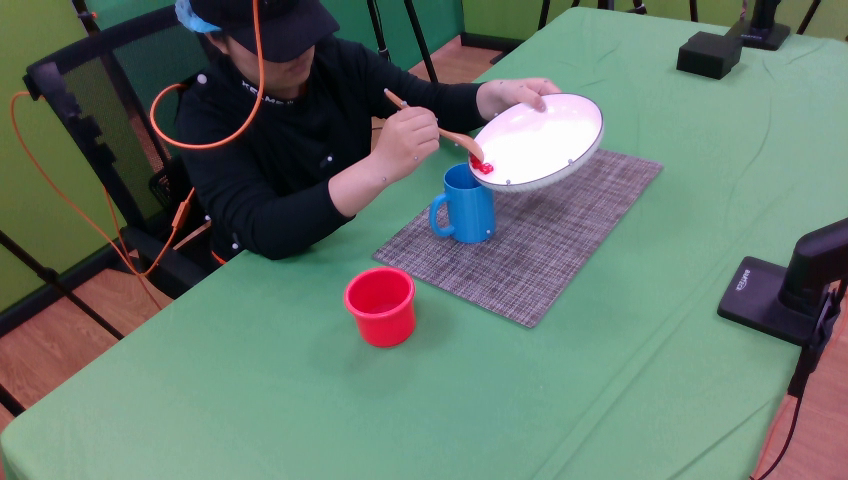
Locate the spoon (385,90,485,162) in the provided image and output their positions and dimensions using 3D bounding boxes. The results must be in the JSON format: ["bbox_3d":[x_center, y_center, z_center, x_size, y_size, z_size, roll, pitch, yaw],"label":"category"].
[{"bbox_3d":[0.021,-0.168,0.899,0.195,0.021,0.041,24,36,-28],"label":"spoon"}]

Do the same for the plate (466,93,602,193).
[{"bbox_3d":[0.166,-0.141,0.910,0.207,0.039,0.206,-18,41,17],"label":"plate"}]

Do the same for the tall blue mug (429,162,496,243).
[{"bbox_3d":[0.067,-0.051,0.960,0.077,0.108,0.107,18,47,27],"label":"tall blue mug"}]
